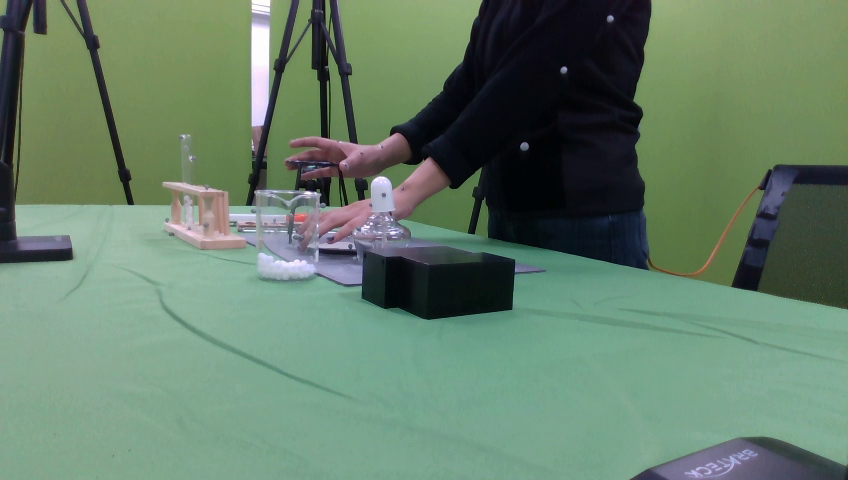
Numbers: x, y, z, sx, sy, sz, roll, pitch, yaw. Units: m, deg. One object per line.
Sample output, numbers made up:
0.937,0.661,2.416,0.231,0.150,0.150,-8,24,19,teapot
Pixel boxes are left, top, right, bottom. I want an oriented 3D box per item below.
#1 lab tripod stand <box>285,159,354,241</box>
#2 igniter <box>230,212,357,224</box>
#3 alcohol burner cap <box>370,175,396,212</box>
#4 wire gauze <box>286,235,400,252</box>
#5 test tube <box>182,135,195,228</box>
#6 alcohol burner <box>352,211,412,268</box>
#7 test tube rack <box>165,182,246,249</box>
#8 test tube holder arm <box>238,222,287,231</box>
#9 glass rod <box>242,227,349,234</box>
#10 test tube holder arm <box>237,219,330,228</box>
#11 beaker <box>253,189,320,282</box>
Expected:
-0.187,-0.068,1.013,0.148,0.131,0.148,4,9,0,lab tripod stand
-0.271,-0.044,1.232,0.278,0.025,0.057,-2,-2,-28,igniter
-0.055,-0.059,0.778,0.034,0.048,0.034,-7,10,2,alcohol burner cap
-0.121,0.008,0.900,0.126,0.011,0.121,-5,10,-43,wire gauze
-0.382,-0.095,0.983,0.017,0.150,0.017,-1,2,0,test tube
-0.055,-0.024,0.784,0.078,0.119,0.078,1,9,0,alcohol burner
-0.360,-0.045,0.982,0.067,0.085,0.241,-3,9,-34,test tube rack
-0.297,-0.024,1.114,0.088,0.015,0.010,-3,47,-33,test tube holder arm
-0.232,-0.016,1.110,0.201,0.008,0.008,2,6,-30,glass rod
-0.261,-0.031,1.142,0.179,0.015,0.013,-5,48,-34,test tube holder arm
-0.156,-0.005,0.689,0.074,0.100,0.083,0,8,-14,beaker
